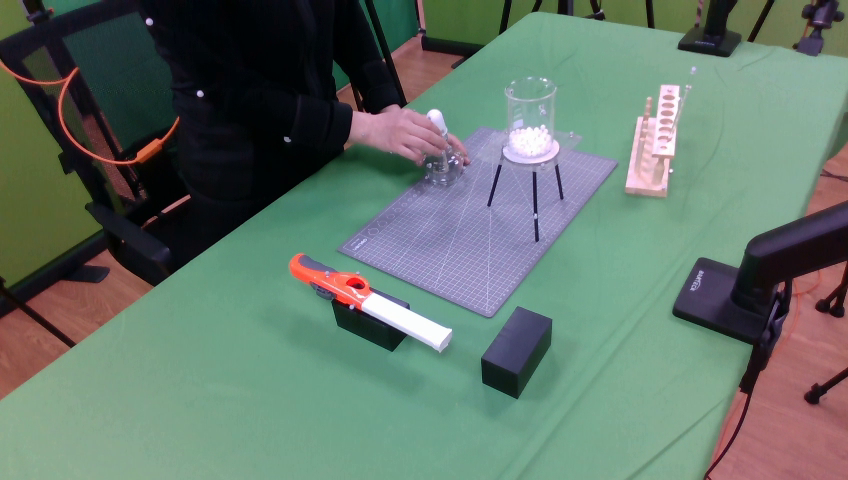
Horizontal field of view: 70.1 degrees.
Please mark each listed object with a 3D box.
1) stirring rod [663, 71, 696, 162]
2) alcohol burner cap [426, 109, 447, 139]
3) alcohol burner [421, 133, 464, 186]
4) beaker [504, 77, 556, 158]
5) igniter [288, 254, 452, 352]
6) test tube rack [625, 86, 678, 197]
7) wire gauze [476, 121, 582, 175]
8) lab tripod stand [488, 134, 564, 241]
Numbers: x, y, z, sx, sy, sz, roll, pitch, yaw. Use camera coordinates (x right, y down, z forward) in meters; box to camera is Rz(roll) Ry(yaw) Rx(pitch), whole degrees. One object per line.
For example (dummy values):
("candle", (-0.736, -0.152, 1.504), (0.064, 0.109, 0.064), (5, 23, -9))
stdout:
("stirring rod", (0.410, -0.195, 0.981), (0.014, 0.177, 0.006), (11, 50, 13))
("alcohol burner cap", (0.020, -0.198, 1.021), (0.034, 0.048, 0.033), (-7, 50, 9))
("alcohol burner", (0.032, -0.158, 1.083), (0.078, 0.119, 0.077), (-5, 42, 5))
("beaker", (0.160, -0.181, 0.900), (0.084, 0.101, 0.073), (-32, 46, -27))
("igniter", (-0.084, 0.079, 0.818), (0.274, 0.025, 0.057), (23, 46, 27))
("test tube rack", (0.412, -0.184, 1.088), (0.066, 0.085, 0.242), (9, 43, 18))
("wire gauze", (0.162, -0.142, 0.929), (0.120, 0.011, 0.125), (19, 49, 32))
("lab tripod stand", (0.168, -0.092, 0.972), (0.148, 0.132, 0.147), (-5, 41, 5))
